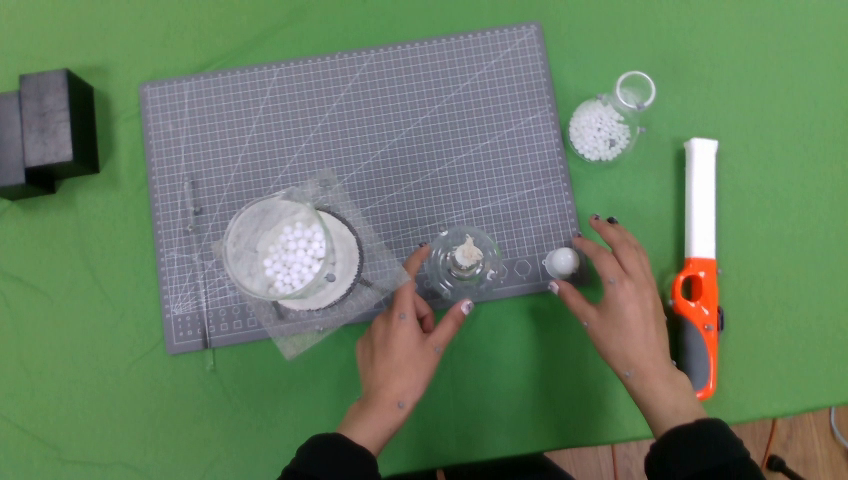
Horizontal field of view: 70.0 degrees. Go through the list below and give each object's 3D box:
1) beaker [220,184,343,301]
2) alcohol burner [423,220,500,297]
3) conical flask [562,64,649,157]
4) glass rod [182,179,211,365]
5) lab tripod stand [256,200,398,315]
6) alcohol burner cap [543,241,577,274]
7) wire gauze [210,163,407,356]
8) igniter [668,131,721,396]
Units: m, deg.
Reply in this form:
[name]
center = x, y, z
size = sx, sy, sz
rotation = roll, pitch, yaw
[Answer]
[beaker]
center = -0.103, 0.006, 0.467
size = 0.074, 0.100, 0.084
rotation = 12, 83, 2
[alcohol burner]
center = 0.037, 0.016, 0.589
size = 0.078, 0.119, 0.077
rotation = 0, 81, 3
[conical flask]
center = 0.186, -0.133, 0.603
size = 0.075, 0.122, 0.075
rotation = 0, 82, 2
[glass rod]
center = -0.241, 0.033, 0.642
size = 0.008, 0.008, 0.199
rotation = -9, 86, -1
[lab tripod stand]
center = -0.099, 0.024, 0.579
size = 0.148, 0.132, 0.148
rotation = 0, 85, 1
[alcohol burner cap]
center = 0.142, 0.016, 0.623
size = 0.034, 0.048, 0.034
rotation = 0, 82, 1
[wire gauze]
center = -0.099, 0.016, 0.514
size = 0.125, 0.011, 0.121
rotation = -35, 86, -5
[igniter]
center = 0.282, 0.022, 0.632
size = 0.057, 0.025, 0.275
rotation = 4, 83, -9
